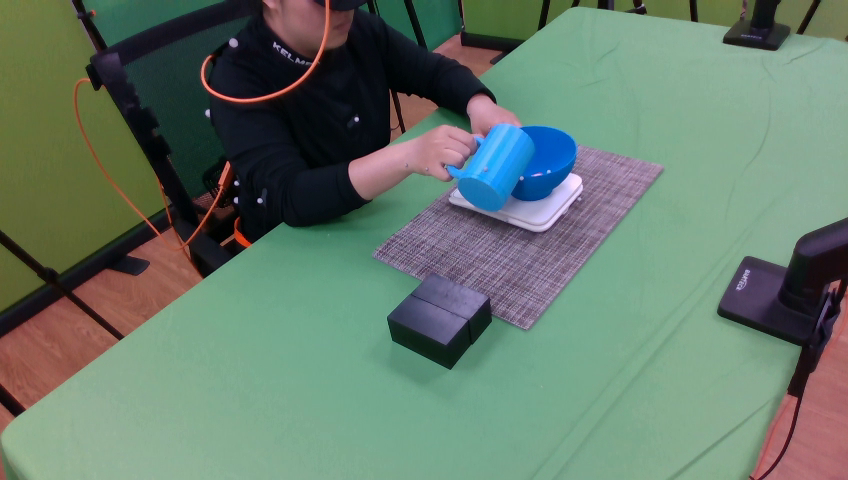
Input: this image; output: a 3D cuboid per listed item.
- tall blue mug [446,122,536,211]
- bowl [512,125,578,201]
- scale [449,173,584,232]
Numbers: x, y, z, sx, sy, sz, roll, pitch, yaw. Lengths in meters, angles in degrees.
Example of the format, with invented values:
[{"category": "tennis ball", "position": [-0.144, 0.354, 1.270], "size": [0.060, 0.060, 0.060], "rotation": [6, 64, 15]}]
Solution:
[{"category": "tall blue mug", "position": [0.094, -0.115, 0.885], "size": [0.107, 0.077, 0.108], "rotation": [33, 67, -2]}, {"category": "bowl", "position": [0.176, -0.117, 0.991], "size": [0.151, 0.077, 0.150], "rotation": [-6, 41, 5]}, {"category": "scale", "position": [0.156, -0.085, 1.040], "size": [0.199, 0.032, 0.149], "rotation": [22, 49, 33]}]
